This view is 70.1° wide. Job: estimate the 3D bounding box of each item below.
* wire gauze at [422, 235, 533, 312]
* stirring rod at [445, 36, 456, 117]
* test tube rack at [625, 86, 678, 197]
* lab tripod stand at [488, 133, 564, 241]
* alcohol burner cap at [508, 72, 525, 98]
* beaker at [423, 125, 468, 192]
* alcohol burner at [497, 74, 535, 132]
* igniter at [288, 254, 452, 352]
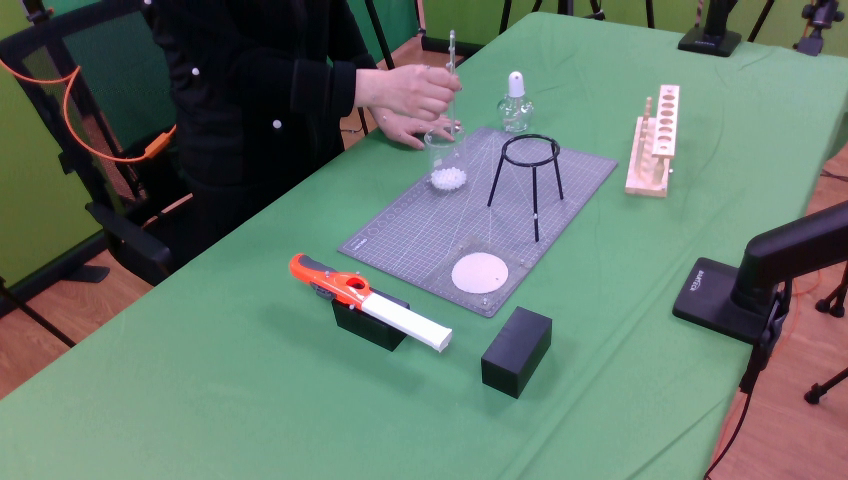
[{"bbox_3d":[0.081,0.049,0.914,0.120,0.011,0.125,26,52,32],"label":"wire gauze"},{"bbox_3d":[0.039,-0.240,0.904,0.014,0.176,0.006,-34,69,-13],"label":"stirring rod"},{"bbox_3d":[0.412,-0.184,1.088,0.066,0.085,0.242,9,43,18],"label":"test tube rack"},{"bbox_3d":[0.168,-0.093,0.972,0.148,0.132,0.147,-5,41,5],"label":"lab tripod stand"},{"bbox_3d":[0.181,-0.306,1.186,0.034,0.048,0.033,-7,39,6],"label":"alcohol burner cap"},{"bbox_3d":[0.042,-0.144,1.078,0.073,0.100,0.084,28,51,34],"label":"beaker"},{"bbox_3d":[0.184,-0.278,1.210,0.078,0.119,0.077,-3,42,3],"label":"alcohol burner"},{"bbox_3d":[-0.083,0.079,0.818,0.274,0.025,0.057,23,46,27],"label":"igniter"}]
